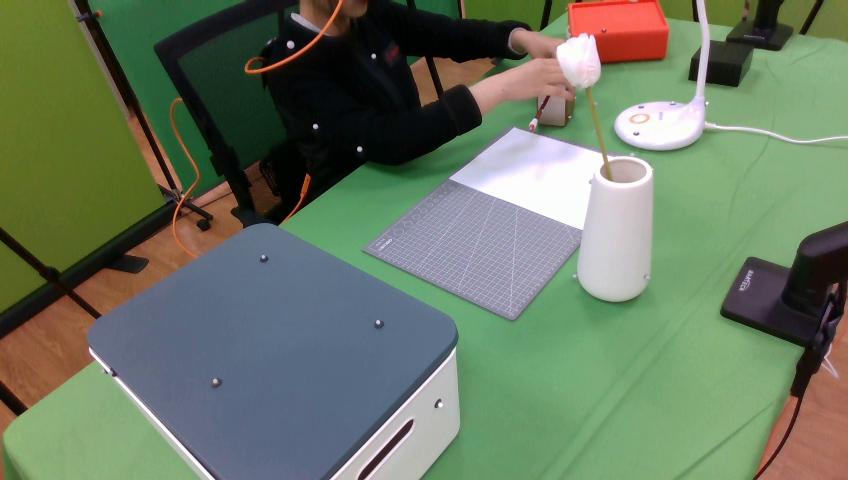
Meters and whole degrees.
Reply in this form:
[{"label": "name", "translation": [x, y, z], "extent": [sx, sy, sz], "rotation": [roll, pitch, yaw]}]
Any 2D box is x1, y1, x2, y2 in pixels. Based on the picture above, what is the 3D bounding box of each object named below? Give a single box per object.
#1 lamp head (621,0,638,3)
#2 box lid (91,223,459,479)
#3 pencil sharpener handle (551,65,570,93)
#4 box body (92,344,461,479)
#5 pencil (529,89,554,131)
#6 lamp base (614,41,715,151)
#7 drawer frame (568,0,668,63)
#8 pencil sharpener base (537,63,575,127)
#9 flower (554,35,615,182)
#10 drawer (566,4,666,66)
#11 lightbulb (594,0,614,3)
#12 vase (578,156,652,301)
[{"label": "lamp head", "translation": [0.319, -0.453, 0.962], "extent": [0.113, 0.123, 0.112], "rotation": [20, 33, -13]}, {"label": "box lid", "translation": [-0.174, 0.103, 0.666], "extent": [0.368, 0.015, 0.264], "rotation": [24, 49, 35]}, {"label": "pencil sharpener handle", "translation": [0.279, -0.336, 1.244], "extent": [0.036, 0.068, 0.030], "rotation": [27, 48, 5]}, {"label": "box body", "translation": [-0.162, 0.170, 0.708], "extent": [0.361, 0.161, 0.255], "rotation": [25, 50, 34]}, {"label": "pencil", "translation": [0.230, -0.260, 1.145], "extent": [0.012, 0.012, 0.194], "rotation": [11, 45, 23]}, {"label": "lamp base", "translation": [0.449, -0.277, 1.106], "extent": [0.179, 0.181, 0.160], "rotation": [1, 41, 9]}, {"label": "drawer frame", "translation": [0.450, -0.496, 1.441], "extent": [0.213, 0.083, 0.201], "rotation": [-1, 40, 9]}, {"label": "pencil sharpener base", "translation": [0.267, -0.292, 1.216], "extent": [0.061, 0.107, 0.077], "rotation": [10, 43, 23]}, {"label": "flower", "translation": [0.237, -0.083, 0.774], "extent": [0.044, 0.363, 0.038], "rotation": [-22, 26, 7]}, {"label": "drawer", "translation": [0.448, -0.493, 1.441], "extent": [0.211, 0.073, 0.194], "rotation": [0, 40, 9]}, {"label": "lightbulb", "translation": [0.305, -0.437, 0.977], "extent": [0.060, 0.107, 0.059], "rotation": [12, 44, -11]}, {"label": "vase", "translation": [0.261, -0.011, 0.812], "extent": [0.098, 0.201, 0.097], "rotation": [-4, 40, 4]}]
